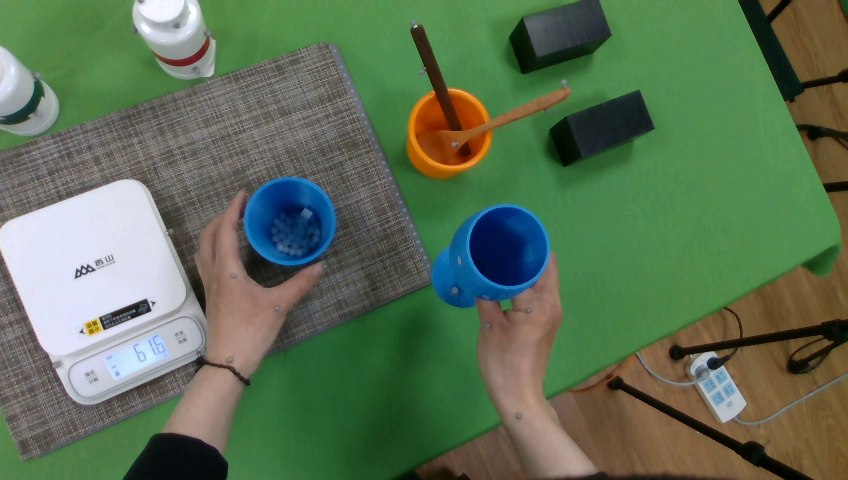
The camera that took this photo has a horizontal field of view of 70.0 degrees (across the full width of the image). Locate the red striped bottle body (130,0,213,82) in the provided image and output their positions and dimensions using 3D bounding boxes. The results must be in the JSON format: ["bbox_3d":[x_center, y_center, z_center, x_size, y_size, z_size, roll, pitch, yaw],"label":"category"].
[{"bbox_3d":[-0.255,-0.210,0.613,0.063,0.119,0.063,1,83,-11],"label":"red striped bottle body"}]

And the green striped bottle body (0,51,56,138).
[{"bbox_3d":[-0.408,-0.143,0.577,0.063,0.119,0.063,1,83,-10],"label":"green striped bottle body"}]

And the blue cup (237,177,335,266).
[{"bbox_3d":[-0.135,-0.012,0.620,0.093,0.100,0.092,1,84,-9],"label":"blue cup"}]

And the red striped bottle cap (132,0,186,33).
[{"bbox_3d":[-0.246,-0.216,0.561,0.044,0.018,0.044,1,81,-9],"label":"red striped bottle cap"}]

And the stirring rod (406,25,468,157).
[{"bbox_3d":[0.017,-0.150,0.642,0.014,0.178,0.005,-8,51,18],"label":"stirring rod"}]

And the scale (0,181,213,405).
[{"bbox_3d":[-0.320,0.051,0.615,0.149,0.031,0.201,-24,89,-12],"label":"scale"}]

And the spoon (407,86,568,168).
[{"bbox_3d":[0.063,-0.121,0.649,0.021,0.193,0.042,-31,102,-55],"label":"spoon"}]

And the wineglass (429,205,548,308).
[{"bbox_3d":[0.047,0.020,0.512,0.074,0.172,0.073,1,80,-7],"label":"wineglass"}]
